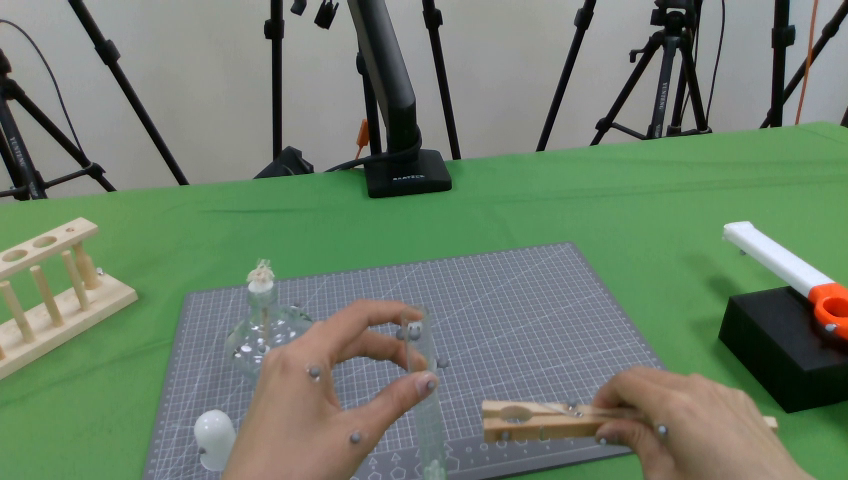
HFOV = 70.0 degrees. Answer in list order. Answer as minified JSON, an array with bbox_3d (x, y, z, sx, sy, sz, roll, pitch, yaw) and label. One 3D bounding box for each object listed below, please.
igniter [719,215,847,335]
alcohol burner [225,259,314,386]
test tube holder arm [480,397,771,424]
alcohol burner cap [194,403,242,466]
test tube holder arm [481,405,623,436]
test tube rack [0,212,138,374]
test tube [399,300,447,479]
[{"bbox_3d":[0.359,0.047,0.539,0.057,0.025,0.273,-8,30,-8],"label":"igniter"},{"bbox_3d":[-0.138,0.069,0.533,0.078,0.120,0.077,-1,31,1],"label":"alcohol burner"},{"bbox_3d":[0.125,0.108,0.383,0.178,0.015,0.013,-1,41,4],"label":"test tube holder arm"},{"bbox_3d":[-0.165,0.150,0.476,0.034,0.048,0.033,-1,33,1],"label":"alcohol burner cap"},{"bbox_3d":[0.080,0.113,0.381,0.088,0.015,0.010,-4,41,0],"label":"test tube holder arm"},{"bbox_3d":[-0.411,0.070,0.576,0.066,0.086,0.242,20,39,30],"label":"test tube rack"},{"bbox_3d":[0.001,0.098,0.354,0.017,0.151,0.017,-4,32,3],"label":"test tube"}]
